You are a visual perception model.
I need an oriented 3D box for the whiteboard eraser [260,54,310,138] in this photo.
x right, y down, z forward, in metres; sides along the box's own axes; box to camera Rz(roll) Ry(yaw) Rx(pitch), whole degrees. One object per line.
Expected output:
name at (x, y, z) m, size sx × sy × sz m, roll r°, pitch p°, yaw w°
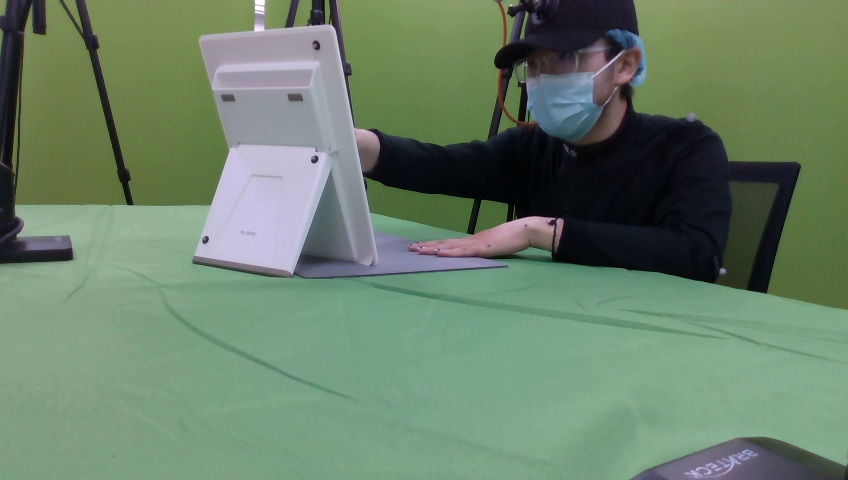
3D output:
whiteboard eraser at (-0.184, -0.185, 0.796) m, size 0.055 × 0.112 × 0.042 m, roll 39°, pitch 64°, yaw 16°

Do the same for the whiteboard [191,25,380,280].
whiteboard at (-0.206, -0.085, 0.733) m, size 0.216 × 0.305 × 0.144 m, roll 7°, pitch 30°, yaw 30°
